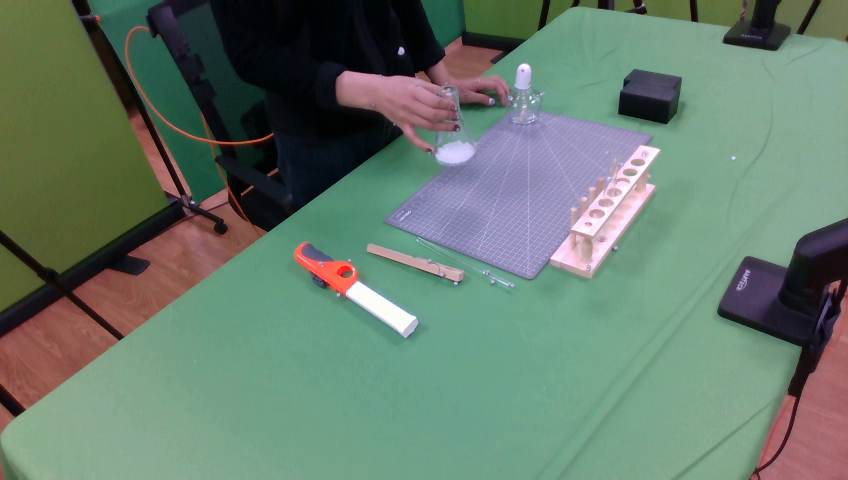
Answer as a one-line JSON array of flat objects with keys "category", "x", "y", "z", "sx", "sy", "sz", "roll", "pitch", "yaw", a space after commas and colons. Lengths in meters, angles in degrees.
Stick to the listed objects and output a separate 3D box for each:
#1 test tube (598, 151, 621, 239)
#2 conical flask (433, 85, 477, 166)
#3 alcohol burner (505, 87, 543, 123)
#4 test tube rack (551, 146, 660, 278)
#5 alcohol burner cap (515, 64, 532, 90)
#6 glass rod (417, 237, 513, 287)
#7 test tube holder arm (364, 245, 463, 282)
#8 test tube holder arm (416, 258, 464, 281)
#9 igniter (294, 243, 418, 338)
[{"category": "test tube", "x": 0.269, "y": -0.062, "z": 0.880, "sx": 0.017, "sy": 0.151, "sz": 0.017, "roll": -3, "pitch": 39, "yaw": 3}, {"category": "conical flask", "x": 0.044, "y": -0.189, "z": 0.989, "sx": 0.075, "sy": 0.122, "sz": 0.075, "roll": -7, "pitch": 37, "yaw": 6}, {"category": "alcohol burner", "x": 0.202, "y": -0.298, "z": 1.222, "sx": 0.078, "sy": 0.119, "sz": 0.077, "roll": -4, "pitch": 40, "yaw": 4}, {"category": "test tube rack", "x": 0.286, "y": -0.053, "z": 0.943, "sx": 0.066, "sy": 0.085, "sz": 0.243, "roll": 21, "pitch": 49, "yaw": 32}, {"category": "alcohol burner cap", "x": 0.199, "y": -0.325, "z": 1.198, "sx": 0.034, "sy": 0.048, "sz": 0.033, "roll": 0, "pitch": 46, "yaw": 1}, {"category": "glass rod", "x": 0.059, "y": 0.032, "z": 0.944, "sx": 0.198, "sy": 0.008, "sz": 0.008, "roll": 26, "pitch": 52, "yaw": 38}, {"category": "test tube holder arm", "x": -0.020, "y": 0.035, "z": 0.947, "sx": 0.177, "sy": 0.015, "sz": 0.013, "roll": 15, "pitch": 10, "yaw": 26}, {"category": "test tube holder arm", "x": 0.021, "y": 0.045, "z": 0.931, "sx": 0.087, "sy": 0.015, "sz": 0.010, "roll": 16, "pitch": 10, "yaw": 28}, {"category": "igniter", "x": -0.114, "y": 0.070, "z": 0.919, "sx": 0.274, "sy": 0.025, "sz": 0.057, "roll": 29, "pitch": 63, "yaw": 37}]
